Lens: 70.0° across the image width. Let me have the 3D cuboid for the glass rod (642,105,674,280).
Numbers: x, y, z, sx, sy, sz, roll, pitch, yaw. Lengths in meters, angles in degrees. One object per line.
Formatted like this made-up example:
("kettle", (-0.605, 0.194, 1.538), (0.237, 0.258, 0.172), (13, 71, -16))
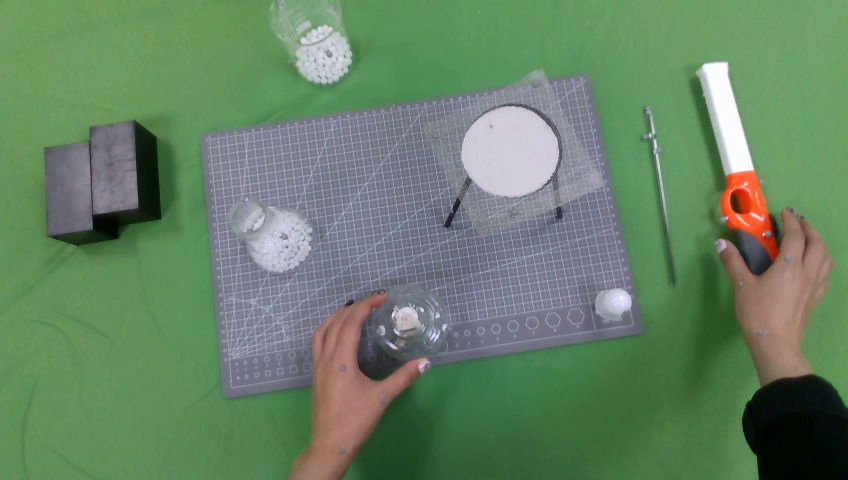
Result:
("glass rod", (0.255, -0.054, 0.664), (0.008, 0.008, 0.199), (-5, 79, 1))

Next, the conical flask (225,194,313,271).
("conical flask", (-0.161, -0.013, 0.612), (0.075, 0.122, 0.075), (0, 80, 2))

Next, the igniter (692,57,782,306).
("igniter", (0.337, -0.067, 0.654), (0.057, 0.025, 0.275), (-7, 80, -10))

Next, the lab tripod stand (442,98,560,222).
("lab tripod stand", (0.078, -0.071, 0.608), (0.148, 0.132, 0.148), (0, 82, 3))

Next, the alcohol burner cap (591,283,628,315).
("alcohol burner cap", (0.194, 0.060, 0.627), (0.034, 0.048, 0.033), (0, 80, 1))

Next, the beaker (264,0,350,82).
("beaker", (-0.121, -0.226, 0.663), (0.074, 0.100, 0.084), (40, 83, 8))

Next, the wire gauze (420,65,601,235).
("wire gauze", (0.076, -0.081, 0.541), (0.125, 0.011, 0.121), (-25, 80, -2))

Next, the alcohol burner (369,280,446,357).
("alcohol burner", (-0.017, 0.076, 0.596), (0.078, 0.119, 0.077), (0, 79, 1))
